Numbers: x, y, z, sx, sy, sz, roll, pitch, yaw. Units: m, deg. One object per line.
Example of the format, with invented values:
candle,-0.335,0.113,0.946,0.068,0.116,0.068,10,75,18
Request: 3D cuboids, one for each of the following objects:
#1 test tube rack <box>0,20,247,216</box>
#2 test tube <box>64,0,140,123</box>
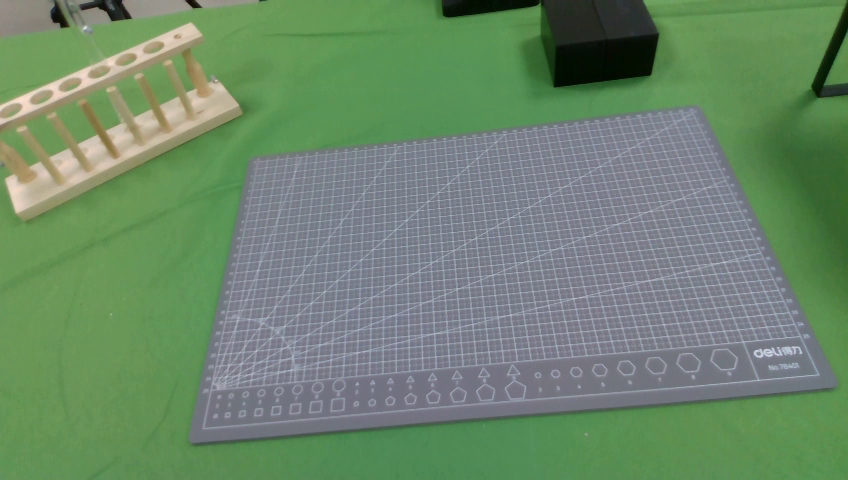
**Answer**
test tube rack,-0.318,-0.128,0.623,0.242,0.086,0.066,-31,54,-16
test tube,-0.317,-0.180,0.599,0.017,0.151,0.017,-3,47,3
